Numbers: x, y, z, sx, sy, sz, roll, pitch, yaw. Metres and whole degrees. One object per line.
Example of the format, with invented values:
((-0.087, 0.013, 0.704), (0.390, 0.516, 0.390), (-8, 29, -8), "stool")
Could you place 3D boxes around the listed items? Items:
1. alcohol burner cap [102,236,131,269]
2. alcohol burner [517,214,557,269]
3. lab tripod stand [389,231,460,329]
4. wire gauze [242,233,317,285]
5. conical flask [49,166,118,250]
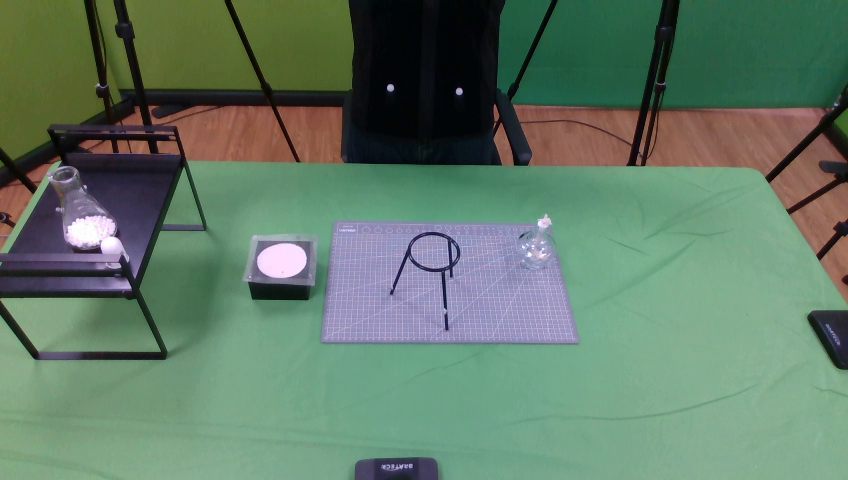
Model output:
((-0.451, 0.016, 0.883), (0.034, 0.048, 0.033), (3, 44, -3), "alcohol burner cap")
((0.217, -0.002, 1.149), (0.078, 0.120, 0.077), (2, 44, -2), "alcohol burner")
((0.015, 0.063, 1.058), (0.148, 0.132, 0.147), (4, 46, -4), "lab tripod stand")
((-0.257, 0.032, 1.088), (0.125, 0.011, 0.120), (1, 44, -5), "wire gauze")
((-0.505, -0.051, 0.888), (0.075, 0.122, 0.075), (2, 45, -2), "conical flask")
